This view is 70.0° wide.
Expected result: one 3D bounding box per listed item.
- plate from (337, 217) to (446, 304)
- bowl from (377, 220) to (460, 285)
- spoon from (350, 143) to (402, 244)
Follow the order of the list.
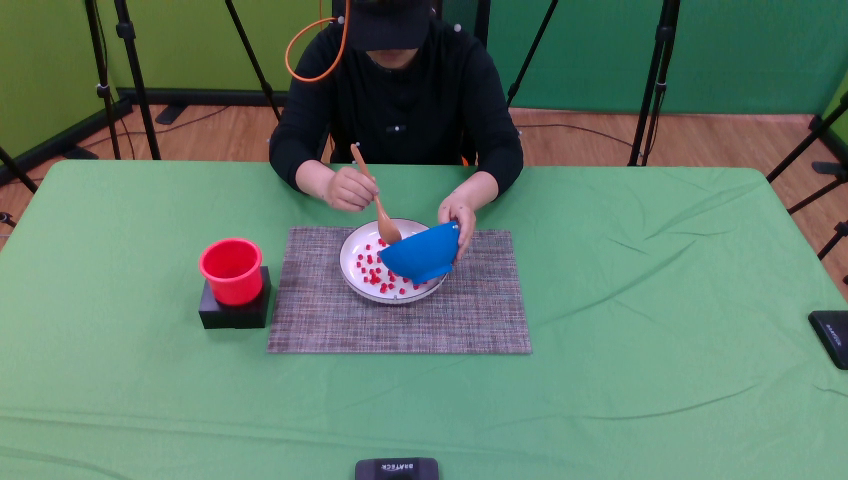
[{"bbox_3d":[-0.058,0.042,1.136,0.208,0.039,0.206,2,46,-2],"label":"plate"},{"bbox_3d":[0.002,0.030,1.051,0.151,0.151,0.076,-21,85,-21],"label":"bowl"},{"bbox_3d":[-0.087,-0.078,1.053,0.041,0.194,0.021,-17,9,31],"label":"spoon"}]
